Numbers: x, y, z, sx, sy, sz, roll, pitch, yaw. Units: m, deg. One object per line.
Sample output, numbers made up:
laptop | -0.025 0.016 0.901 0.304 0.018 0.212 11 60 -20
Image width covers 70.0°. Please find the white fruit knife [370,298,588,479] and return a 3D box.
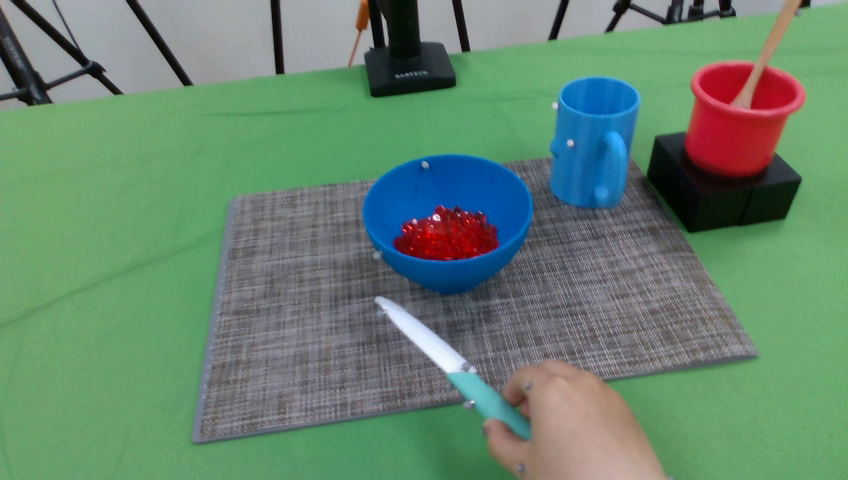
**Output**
white fruit knife | 0.027 0.100 0.439 0.027 0.016 0.205 -19 44 -42

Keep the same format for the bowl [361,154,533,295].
bowl | 0.022 -0.003 0.555 0.151 0.077 0.150 -2 43 3

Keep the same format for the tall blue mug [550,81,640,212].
tall blue mug | 0.180 -0.088 0.611 0.078 0.109 0.106 -27 47 -24

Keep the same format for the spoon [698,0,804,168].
spoon | 0.320 -0.157 0.581 0.041 0.022 0.194 29 96 32
